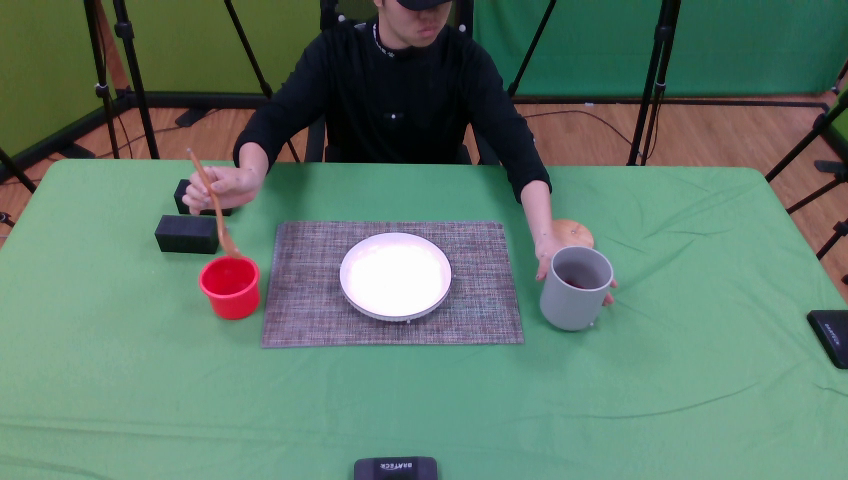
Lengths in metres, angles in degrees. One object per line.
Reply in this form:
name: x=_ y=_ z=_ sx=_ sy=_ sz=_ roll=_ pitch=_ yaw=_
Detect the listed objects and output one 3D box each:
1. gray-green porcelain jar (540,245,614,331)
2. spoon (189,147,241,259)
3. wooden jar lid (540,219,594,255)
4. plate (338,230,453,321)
gray-green porcelain jar: x=0.262 y=0.088 z=1.058 sx=0.106 sy=0.127 sz=0.105 roll=2 pitch=46 yaw=-2
spoon: x=-0.336 y=-0.058 z=0.978 sx=0.021 sy=0.194 sz=0.041 roll=-12 pitch=17 yaw=4
wooden jar lid: x=0.287 y=0.001 z=1.219 sx=0.108 sy=0.021 sz=0.107 roll=1 pitch=46 yaw=-1
plate: x=-0.051 y=0.068 z=1.111 sx=0.208 sy=0.039 sz=0.206 roll=2 pitch=46 yaw=-2
